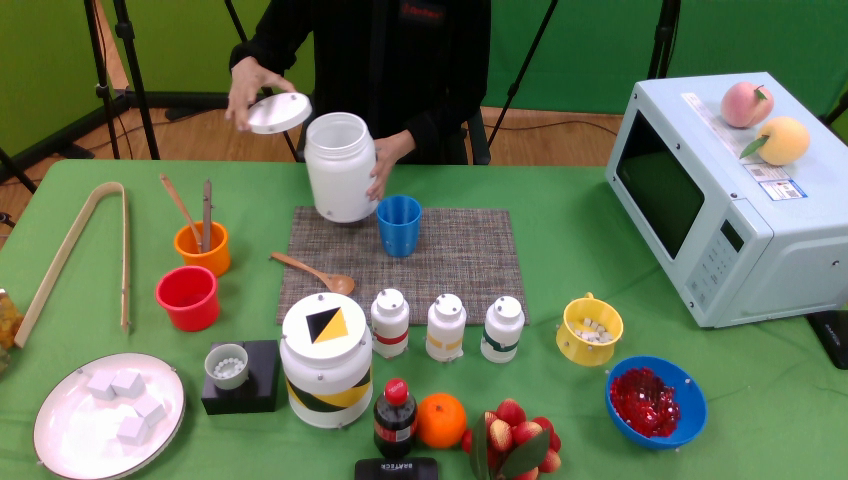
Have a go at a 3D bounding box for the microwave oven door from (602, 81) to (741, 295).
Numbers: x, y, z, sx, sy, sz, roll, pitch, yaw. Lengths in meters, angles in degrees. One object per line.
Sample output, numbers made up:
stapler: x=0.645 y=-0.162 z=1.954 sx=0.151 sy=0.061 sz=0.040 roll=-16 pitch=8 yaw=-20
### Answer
microwave oven door: x=0.456 y=-0.107 z=1.162 sx=0.039 sy=0.245 sz=0.353 roll=-7 pitch=47 yaw=-11

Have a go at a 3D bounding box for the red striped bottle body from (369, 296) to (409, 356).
red striped bottle body: x=-0.059 y=0.134 z=0.997 sx=0.063 sy=0.120 sz=0.062 roll=5 pitch=48 yaw=-5

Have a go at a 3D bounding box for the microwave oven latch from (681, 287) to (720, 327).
microwave oven latch: x=0.494 y=0.119 z=1.087 sx=0.030 sy=0.029 sz=0.078 roll=-5 pitch=46 yaw=-9

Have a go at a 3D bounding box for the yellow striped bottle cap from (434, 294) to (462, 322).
yellow striped bottle cap: x=0.038 y=0.107 z=0.958 sx=0.044 sy=0.019 sz=0.044 roll=2 pitch=45 yaw=-2

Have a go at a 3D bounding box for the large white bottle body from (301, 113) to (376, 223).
large white bottle body: x=-0.162 y=-0.137 z=1.157 sx=0.130 sy=0.185 sz=0.130 roll=0 pitch=48 yaw=1

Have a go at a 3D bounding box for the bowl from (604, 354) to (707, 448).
bowl: x=0.346 y=0.261 z=0.937 sx=0.151 sy=0.077 sz=0.150 roll=2 pitch=46 yaw=-2

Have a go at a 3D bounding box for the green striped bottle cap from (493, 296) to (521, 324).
green striped bottle cap: x=0.133 y=0.111 z=0.962 sx=0.044 sy=0.020 sz=0.044 roll=2 pitch=47 yaw=-2

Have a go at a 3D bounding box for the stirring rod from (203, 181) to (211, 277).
stirring rod: x=-0.396 y=-0.021 z=1.107 sx=0.014 sy=0.006 sz=0.176 roll=-1 pitch=89 yaw=-1

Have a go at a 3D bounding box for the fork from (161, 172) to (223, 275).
fork: x=-0.425 y=-0.030 z=1.103 sx=0.028 sy=0.018 sz=0.207 roll=-28 pitch=98 yaw=-10

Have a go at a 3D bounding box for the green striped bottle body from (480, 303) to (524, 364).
green striped bottle body: x=0.129 y=0.147 z=1.000 sx=0.063 sy=0.120 sz=0.063 roll=2 pitch=46 yaw=-2

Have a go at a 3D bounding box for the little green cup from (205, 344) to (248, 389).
little green cup: x=-0.293 y=0.191 z=0.909 sx=0.061 sy=0.039 sz=0.061 roll=1 pitch=47 yaw=-1

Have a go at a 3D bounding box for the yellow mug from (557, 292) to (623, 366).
yellow mug: x=0.285 y=0.145 z=1.051 sx=0.100 sy=0.064 sz=0.130 roll=7 pitch=45 yaw=4

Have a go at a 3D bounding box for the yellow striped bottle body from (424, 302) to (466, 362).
yellow striped bottle body: x=0.035 y=0.143 z=0.995 sx=0.063 sy=0.121 sz=0.062 roll=3 pitch=46 yaw=-3

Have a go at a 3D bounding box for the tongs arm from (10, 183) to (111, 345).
tongs arm: x=-0.658 y=0.027 z=1.109 sx=0.028 sy=0.028 sz=0.385 roll=-2 pitch=45 yaw=2

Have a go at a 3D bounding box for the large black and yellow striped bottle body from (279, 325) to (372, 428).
large black and yellow striped bottle body: x=-0.143 y=0.181 z=0.900 sx=0.131 sy=0.185 sz=0.130 roll=2 pitch=46 yaw=-2

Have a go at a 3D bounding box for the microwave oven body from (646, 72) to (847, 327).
microwave oven body: x=0.607 y=-0.089 z=1.164 sx=0.326 sy=0.261 sz=0.438 roll=-7 pitch=46 yaw=-10

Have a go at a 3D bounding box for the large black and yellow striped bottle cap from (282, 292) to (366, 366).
large black and yellow striped bottle cap: x=-0.138 y=0.121 z=0.841 sx=0.115 sy=0.019 sz=0.114 roll=3 pitch=47 yaw=-3

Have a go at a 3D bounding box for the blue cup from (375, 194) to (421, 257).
blue cup: x=-0.049 y=-0.022 z=1.155 sx=0.093 sy=0.101 sz=0.092 roll=1 pitch=46 yaw=-1

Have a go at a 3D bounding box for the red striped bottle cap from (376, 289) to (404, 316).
red striped bottle cap: x=-0.054 y=0.098 z=0.958 sx=0.044 sy=0.018 sz=0.044 roll=0 pitch=48 yaw=1

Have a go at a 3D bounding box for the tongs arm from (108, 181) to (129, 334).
tongs arm: x=-0.571 y=0.019 z=1.123 sx=0.051 sy=0.026 sz=0.382 roll=-10 pitch=47 yaw=-12

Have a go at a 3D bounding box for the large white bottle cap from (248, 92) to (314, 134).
large white bottle cap: x=-0.252 y=-0.225 z=1.067 sx=0.115 sy=0.018 sz=0.114 roll=-7 pitch=41 yaw=7

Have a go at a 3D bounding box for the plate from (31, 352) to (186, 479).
plate: x=-0.459 y=0.262 z=0.898 sx=0.209 sy=0.038 sz=0.208 roll=2 pitch=46 yaw=-2

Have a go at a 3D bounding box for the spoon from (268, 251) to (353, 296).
spoon: x=-0.212 y=0.057 z=1.121 sx=0.193 sy=0.022 sz=0.041 roll=24 pitch=74 yaw=18
